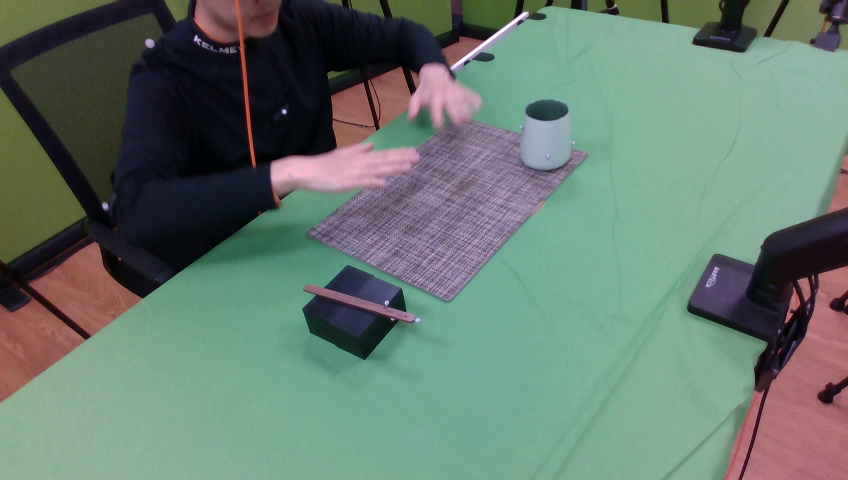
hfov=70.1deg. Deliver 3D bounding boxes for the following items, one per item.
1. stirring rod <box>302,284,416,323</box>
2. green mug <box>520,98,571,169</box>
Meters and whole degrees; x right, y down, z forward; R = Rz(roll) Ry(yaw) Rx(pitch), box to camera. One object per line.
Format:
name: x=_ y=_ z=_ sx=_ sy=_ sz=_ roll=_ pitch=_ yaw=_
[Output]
stirring rod: x=-0.091 y=0.086 z=0.819 sx=0.175 sy=0.006 sz=0.014 roll=13 pitch=48 yaw=22
green mug: x=0.216 y=-0.200 z=1.100 sx=0.093 sy=0.105 sz=0.124 roll=-14 pitch=41 yaw=-7
